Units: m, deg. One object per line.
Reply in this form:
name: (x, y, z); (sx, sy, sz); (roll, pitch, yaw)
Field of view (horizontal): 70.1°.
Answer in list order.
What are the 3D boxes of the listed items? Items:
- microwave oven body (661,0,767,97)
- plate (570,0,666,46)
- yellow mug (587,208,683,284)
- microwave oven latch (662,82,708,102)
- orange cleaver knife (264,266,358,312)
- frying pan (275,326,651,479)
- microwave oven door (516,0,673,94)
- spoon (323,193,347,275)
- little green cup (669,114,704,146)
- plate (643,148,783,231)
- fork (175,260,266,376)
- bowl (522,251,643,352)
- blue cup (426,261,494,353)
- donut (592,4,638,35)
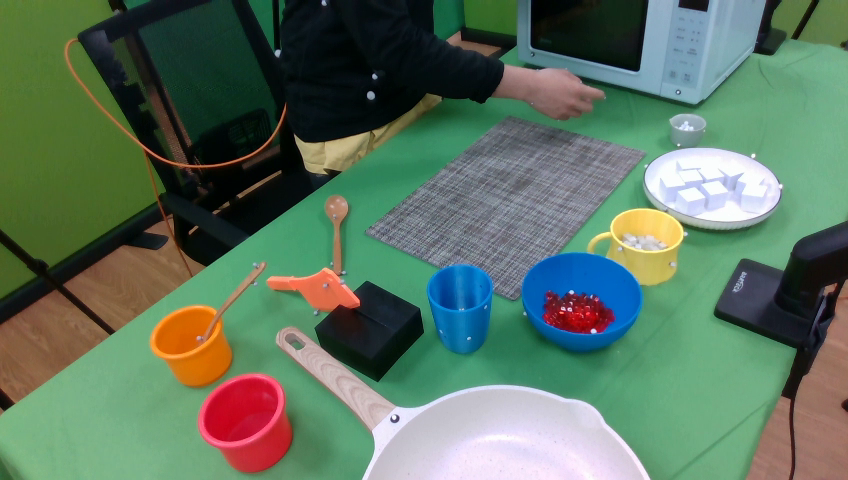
microwave oven body: (0.473, -0.516, 1.313); (0.438, 0.261, 0.327); (26, 51, 34)
plate: (0.436, -0.488, 1.368); (0.209, 0.038, 0.208); (-4, 40, 4)
yellow mug: (0.305, 0.009, 0.884); (0.131, 0.064, 0.099); (-4, 41, 5)
microwave oven latch: (0.518, -0.299, 1.203); (0.078, 0.029, 0.030); (29, 53, 36)
orange cleaver knife: (-0.165, 0.073, 0.864); (0.210, 0.077, 0.012); (-6, 31, 49)
frying pan: (0.003, 0.229, 0.641); (0.484, 0.103, 0.308); (34, 54, 28)
microwave oven door: (0.344, -0.458, 1.257); (0.353, 0.245, 0.039); (26, 52, 33)
spoon: (-0.148, -0.014, 1.008); (0.042, 0.022, 0.192); (1, 40, -9)
little green cup: (0.485, -0.203, 1.123); (0.061, 0.039, 0.061); (-5, 40, 5)
plate: (0.464, -0.080, 0.986); (0.207, 0.039, 0.206); (-4, 40, 4)
fork: (-0.268, 0.103, 0.792); (0.207, 0.019, 0.028); (-51, 41, 16)
bowl: (0.204, 0.093, 0.792); (0.151, 0.077, 0.150); (-4, 40, 4)
blue cup: (0.049, 0.095, 0.791); (0.092, 0.100, 0.092); (-3, 42, 3)
donut: (0.428, -0.493, 1.352); (0.099, 0.048, 0.098); (-7, 41, 7)
